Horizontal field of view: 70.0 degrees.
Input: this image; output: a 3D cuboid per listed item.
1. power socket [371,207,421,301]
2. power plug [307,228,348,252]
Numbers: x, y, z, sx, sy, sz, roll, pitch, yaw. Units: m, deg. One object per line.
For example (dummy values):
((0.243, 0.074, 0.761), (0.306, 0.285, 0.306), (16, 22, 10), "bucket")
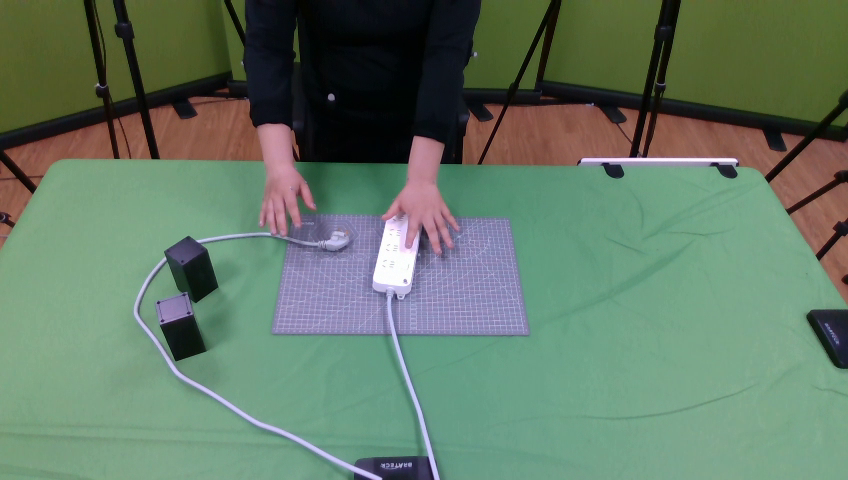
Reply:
((-0.051, 0.018, 1.165), (0.072, 0.033, 0.225), (6, 46, 3), "power socket")
((-0.183, -0.006, 1.171), (0.072, 0.035, 0.052), (18, 48, 0), "power plug")
